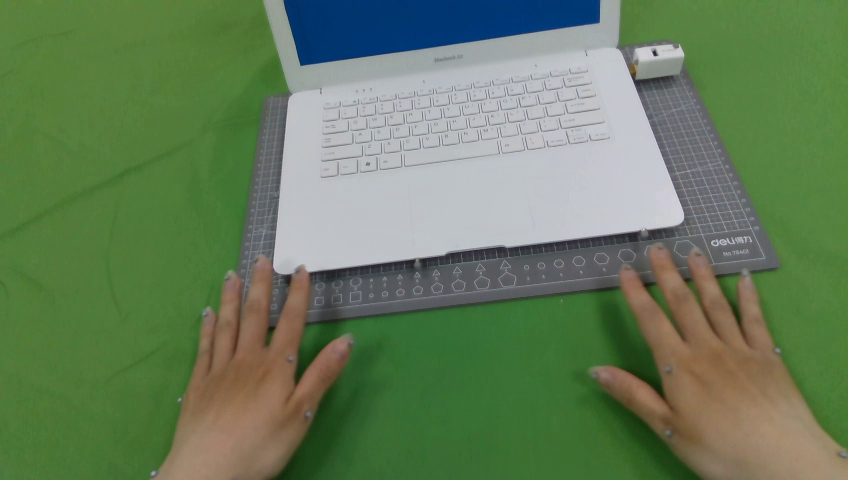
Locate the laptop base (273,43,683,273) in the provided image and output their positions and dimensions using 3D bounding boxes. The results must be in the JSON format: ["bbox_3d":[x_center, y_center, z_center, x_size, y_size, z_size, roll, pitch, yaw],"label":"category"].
[{"bbox_3d":[0.036,-0.085,0.581,0.354,0.023,0.233,-7,57,3],"label":"laptop base"}]

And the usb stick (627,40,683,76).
[{"bbox_3d":[0.224,-0.181,0.605,0.059,0.027,0.021,-7,55,6],"label":"usb stick"}]

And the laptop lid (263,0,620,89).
[{"bbox_3d":[0.012,-0.274,0.577,0.356,0.244,0.013,-8,37,4],"label":"laptop lid"}]
